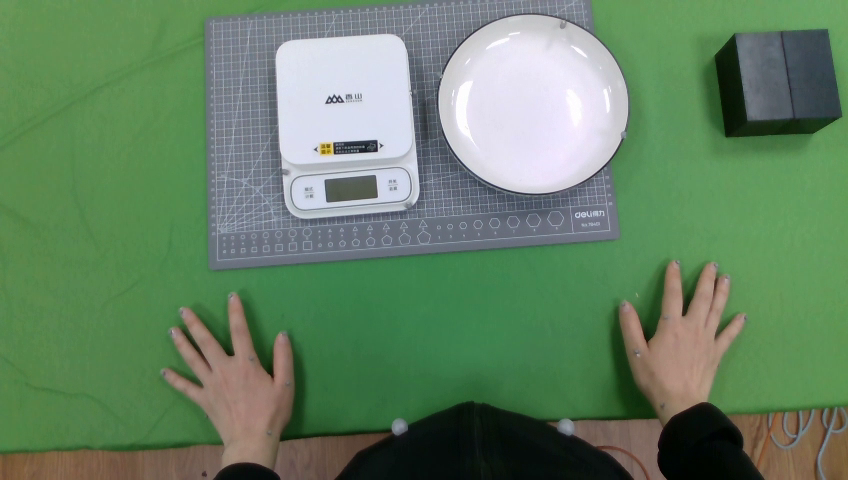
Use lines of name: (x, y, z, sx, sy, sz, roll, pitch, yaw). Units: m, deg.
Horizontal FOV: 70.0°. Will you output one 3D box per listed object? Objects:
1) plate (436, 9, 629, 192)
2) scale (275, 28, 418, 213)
plate: (0.117, -0.150, 0.667, 0.209, 0.038, 0.208, 0, 81, 0)
scale: (-0.087, -0.134, 0.670, 0.149, 0.031, 0.200, -5, 81, 0)
